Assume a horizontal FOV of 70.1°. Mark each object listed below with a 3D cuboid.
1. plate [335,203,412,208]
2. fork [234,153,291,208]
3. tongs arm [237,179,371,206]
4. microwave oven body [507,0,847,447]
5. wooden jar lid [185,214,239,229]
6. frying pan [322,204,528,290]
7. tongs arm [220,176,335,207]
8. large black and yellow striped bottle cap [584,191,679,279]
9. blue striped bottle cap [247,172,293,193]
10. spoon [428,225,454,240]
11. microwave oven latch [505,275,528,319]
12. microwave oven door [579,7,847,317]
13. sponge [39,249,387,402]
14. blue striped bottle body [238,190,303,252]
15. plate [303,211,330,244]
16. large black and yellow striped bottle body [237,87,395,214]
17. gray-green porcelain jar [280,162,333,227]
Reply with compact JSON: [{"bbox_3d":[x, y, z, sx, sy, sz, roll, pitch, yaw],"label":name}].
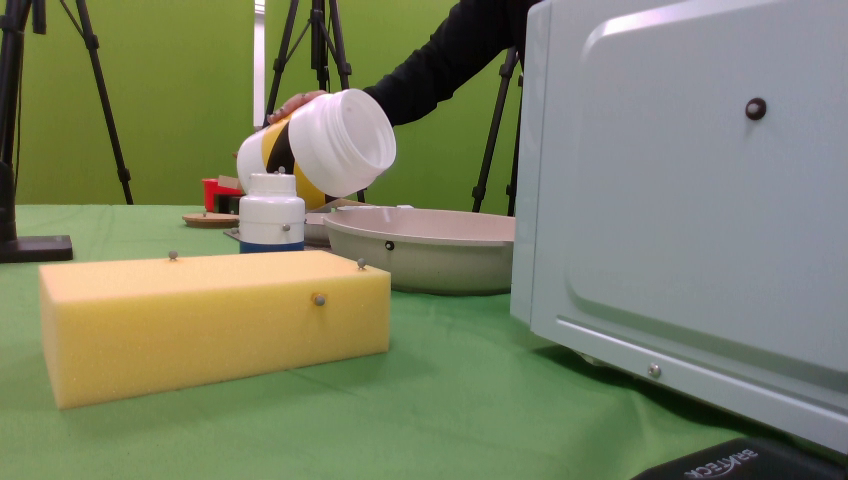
[{"bbox_3d":[-0.089,-0.054,1.309,0.208,0.039,0.207,2,8,0],"label":"plate"},{"bbox_3d":[-0.396,-0.143,1.486,0.028,0.018,0.208,20,-26,45],"label":"fork"},{"bbox_3d":[-0.241,-0.095,1.374,0.387,0.026,0.050,9,0,-37],"label":"tongs arm"},{"bbox_3d":[0.331,-0.042,0.425,0.444,0.260,0.324,-2,8,-31],"label":"microwave oven body"},{"bbox_3d":[-0.404,-0.037,1.169,0.108,0.020,0.108,3,7,0],"label":"wooden jar lid"},{"bbox_3d":[0.110,-0.018,0.800,0.490,0.102,0.305,-12,16,-30],"label":"frying pan"},{"bbox_3d":[-0.285,-0.105,1.445,0.389,0.027,0.028,9,-3,-23],"label":"tongs arm"},{"bbox_3d":[0.241,-0.006,0.709,0.019,0.115,0.114,39,-11,-27],"label":"large black and yellow striped bottle cap"},{"bbox_3d":[-0.152,-0.057,0.598,0.044,0.020,0.044,3,7,0],"label":"blue striped bottle cap"},{"bbox_3d":[0.024,-0.019,1.124,0.042,0.021,0.193,-16,9,-4],"label":"spoon"},{"bbox_3d":[0.100,0.042,0.471,0.079,0.029,0.030,-1,7,-29],"label":"microwave oven latch"},{"bbox_3d":[0.294,-0.067,0.570,0.358,0.243,0.039,-3,9,-31],"label":"microwave oven door"},{"bbox_3d":[-0.142,0.047,0.420,0.208,0.061,0.117,-3,8,-36],"label":"sponge"},{"bbox_3d":[-0.153,-0.007,0.605,0.063,0.120,0.063,2,7,0],"label":"blue striped bottle body"},{"bbox_3d":[-0.139,-0.022,1.021,0.209,0.038,0.209,2,8,0],"label":"plate"},{"bbox_3d":[-0.142,-0.115,0.805,0.183,0.130,0.131,-21,-6,31],"label":"large black and yellow striped bottle body"},{"bbox_3d":[-0.238,-0.092,1.221,0.106,0.126,0.106,2,7,0],"label":"gray-green porcelain jar"}]
